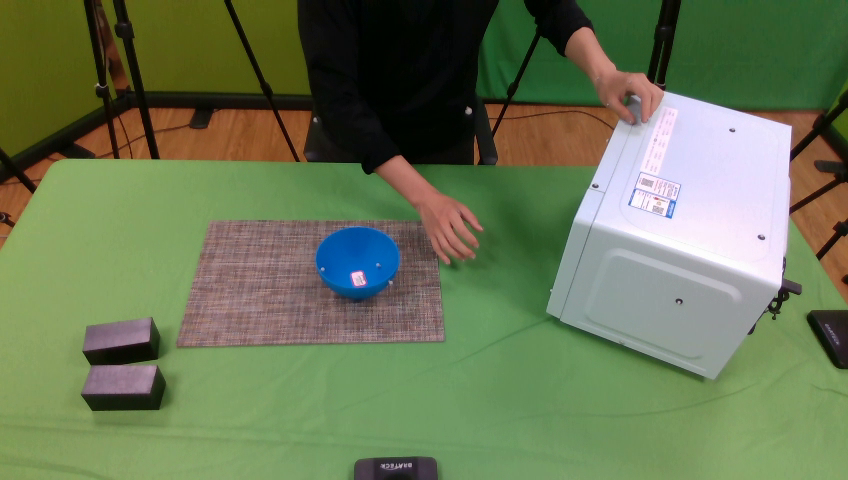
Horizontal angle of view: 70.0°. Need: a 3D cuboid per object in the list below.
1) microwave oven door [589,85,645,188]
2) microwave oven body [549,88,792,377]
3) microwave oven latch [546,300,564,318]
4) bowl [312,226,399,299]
[{"bbox_3d":[0.342,-0.107,1.149,0.039,0.245,0.354,20,48,15],"label":"microwave oven door"},{"bbox_3d":[0.456,-0.028,1.088,0.325,0.261,0.440,20,47,16],"label":"microwave oven body"},{"bbox_3d":[0.242,0.102,1.081,0.030,0.029,0.079,21,48,17],"label":"microwave oven latch"},{"bbox_3d":[-0.120,0.054,1.091,0.151,0.077,0.150,2,46,-2],"label":"bowl"}]
